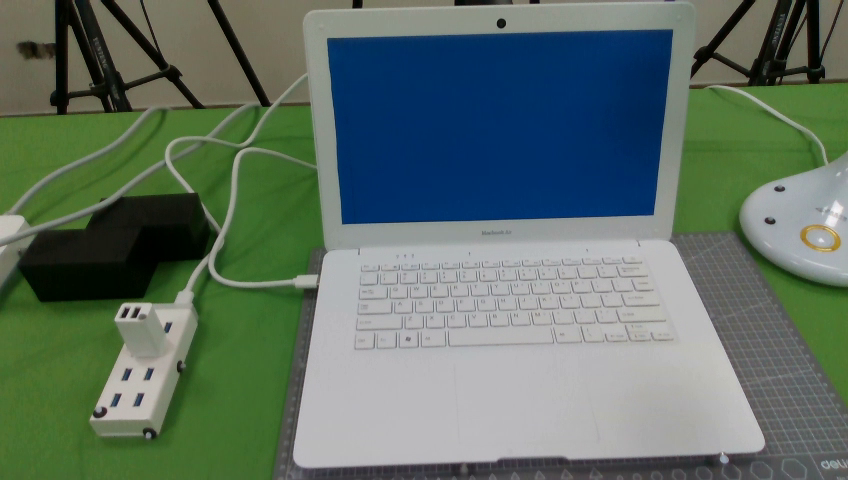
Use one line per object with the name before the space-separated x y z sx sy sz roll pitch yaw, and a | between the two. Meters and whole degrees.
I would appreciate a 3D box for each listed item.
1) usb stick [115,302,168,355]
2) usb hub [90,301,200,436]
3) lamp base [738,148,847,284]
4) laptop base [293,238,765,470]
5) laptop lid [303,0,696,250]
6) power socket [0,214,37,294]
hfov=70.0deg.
usb stick | -0.230 0.078 0.500 0.027 0.060 0.021 -3 41 1
usb hub | -0.232 0.105 0.514 0.049 0.025 0.124 -2 41 1
lamp base | 0.416 -0.077 0.587 0.159 0.182 0.178 19 43 22
laptop base | 0.077 0.087 0.531 0.354 0.023 0.233 -2 45 -1
laptop lid | 0.071 -0.101 0.577 0.357 0.243 0.013 -3 20 0
power socket | -0.449 0.050 0.575 0.072 0.033 0.224 -1 41 -1
